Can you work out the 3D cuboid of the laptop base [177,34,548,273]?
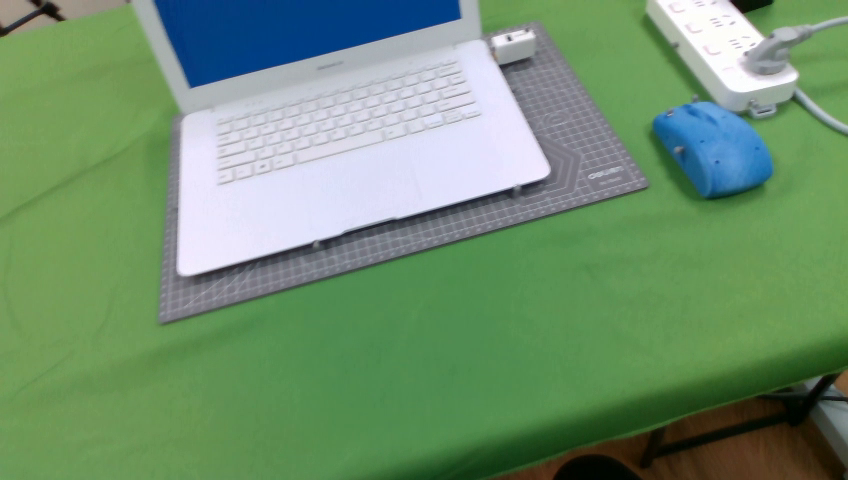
[{"bbox_3d":[-0.078,-0.099,0.624,0.354,0.023,0.233,-16,54,-3],"label":"laptop base"}]

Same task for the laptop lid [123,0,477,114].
[{"bbox_3d":[-0.129,-0.276,0.624,0.357,0.244,0.013,-17,38,-2],"label":"laptop lid"}]

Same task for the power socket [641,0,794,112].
[{"bbox_3d":[0.302,-0.218,0.639,0.072,0.033,0.224,-13,51,0],"label":"power socket"}]

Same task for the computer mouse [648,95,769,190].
[{"bbox_3d":[0.254,-0.096,0.547,0.063,0.041,0.116,-17,46,0],"label":"computer mouse"}]

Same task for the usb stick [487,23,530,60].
[{"bbox_3d":[0.087,-0.218,0.672,0.059,0.027,0.021,-17,51,1],"label":"usb stick"}]

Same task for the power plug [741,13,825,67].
[{"bbox_3d":[0.341,-0.181,0.576,0.072,0.053,0.035,-4,53,7],"label":"power plug"}]
